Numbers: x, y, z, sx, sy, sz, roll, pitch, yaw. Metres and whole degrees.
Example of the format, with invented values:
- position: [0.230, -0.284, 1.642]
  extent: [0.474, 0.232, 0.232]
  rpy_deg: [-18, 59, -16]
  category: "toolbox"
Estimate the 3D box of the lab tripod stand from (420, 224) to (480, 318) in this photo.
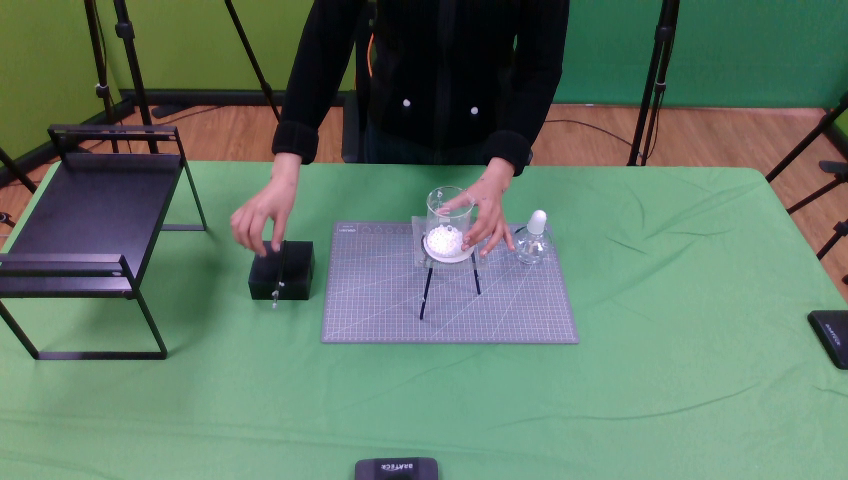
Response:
- position: [0.034, 0.052, 1.070]
  extent: [0.148, 0.132, 0.147]
  rpy_deg: [3, 48, -3]
  category: "lab tripod stand"

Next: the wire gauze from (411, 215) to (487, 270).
- position: [0.041, 0.003, 1.026]
  extent: [0.125, 0.011, 0.120]
  rpy_deg: [-1, 46, -2]
  category: "wire gauze"

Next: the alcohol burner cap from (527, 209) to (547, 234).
- position: [0.213, -0.038, 1.134]
  extent: [0.034, 0.048, 0.033]
  rpy_deg: [4, 50, -4]
  category: "alcohol burner cap"

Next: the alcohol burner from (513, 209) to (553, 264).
- position: [0.210, -0.012, 1.159]
  extent: [0.078, 0.120, 0.077]
  rpy_deg: [1, 44, -1]
  category: "alcohol burner"

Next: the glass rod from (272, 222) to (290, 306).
- position: [-0.255, 0.039, 1.084]
  extent: [0.008, 0.008, 0.198]
  rpy_deg: [1, 46, -3]
  category: "glass rod"

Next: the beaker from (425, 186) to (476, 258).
- position: [0.040, -0.027, 0.989]
  extent: [0.084, 0.101, 0.073]
  rpy_deg: [-12, 48, -14]
  category: "beaker"
